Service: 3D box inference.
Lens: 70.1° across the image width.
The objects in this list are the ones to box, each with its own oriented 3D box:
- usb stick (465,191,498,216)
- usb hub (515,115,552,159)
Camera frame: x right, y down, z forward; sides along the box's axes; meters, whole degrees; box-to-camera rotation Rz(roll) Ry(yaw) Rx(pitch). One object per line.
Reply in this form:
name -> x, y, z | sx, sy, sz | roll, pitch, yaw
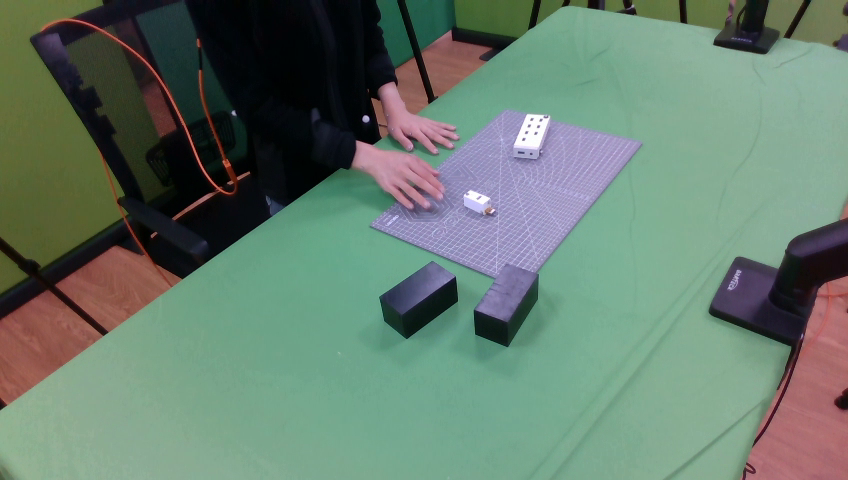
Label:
usb stick -> 0.099, -0.061, 1.026 | 0.058, 0.027, 0.021 | 30, 51, 33
usb hub -> 0.213, -0.201, 1.173 | 0.049, 0.025, 0.125 | 9, 44, 18
